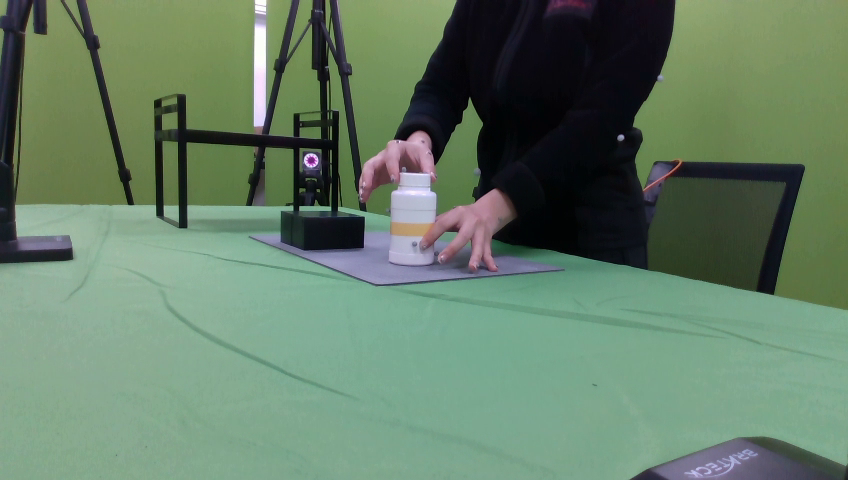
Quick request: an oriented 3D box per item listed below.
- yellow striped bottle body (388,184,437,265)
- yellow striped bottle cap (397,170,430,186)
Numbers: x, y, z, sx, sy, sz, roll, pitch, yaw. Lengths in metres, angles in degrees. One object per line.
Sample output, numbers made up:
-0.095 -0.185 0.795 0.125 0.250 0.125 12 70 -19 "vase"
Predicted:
-0.015 -0.030 0.814 0.063 0.120 0.063 2 8 0 "yellow striped bottle body"
-0.013 -0.083 0.807 0.044 0.018 0.044 2 10 0 "yellow striped bottle cap"
